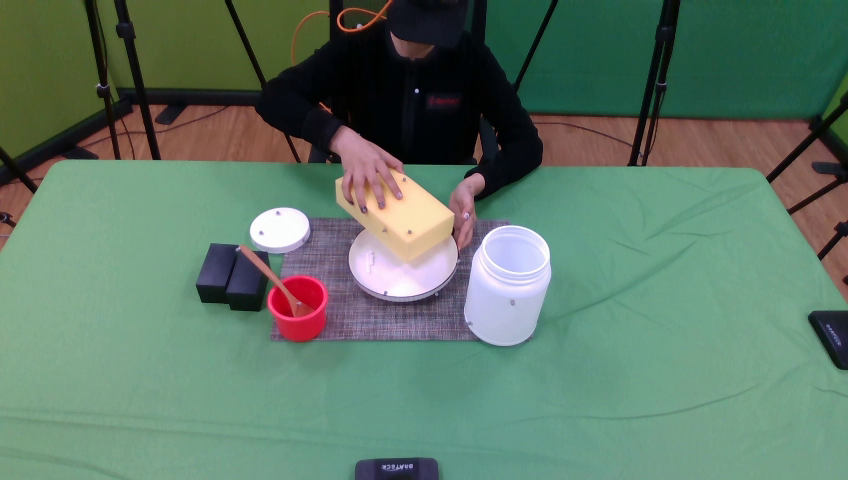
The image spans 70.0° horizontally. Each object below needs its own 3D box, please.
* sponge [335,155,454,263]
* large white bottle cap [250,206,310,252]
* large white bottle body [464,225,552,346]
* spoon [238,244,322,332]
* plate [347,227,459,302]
[{"bbox_3d":[-0.059,-0.063,1.149,0.118,0.061,0.206,-34,60,-30],"label":"sponge"},{"bbox_3d":[-0.284,-0.023,1.198,0.115,0.018,0.114,1,46,0],"label":"large white bottle cap"},{"bbox_3d":[0.141,0.076,1.017,0.131,0.185,0.130,2,46,-2],"label":"large white bottle body"},{"bbox_3d":[-0.240,0.079,1.015,0.194,0.021,0.041,53,51,-15],"label":"spoon"},{"bbox_3d":[-0.039,0.035,1.136,0.209,0.038,0.208,-2,48,2],"label":"plate"}]
